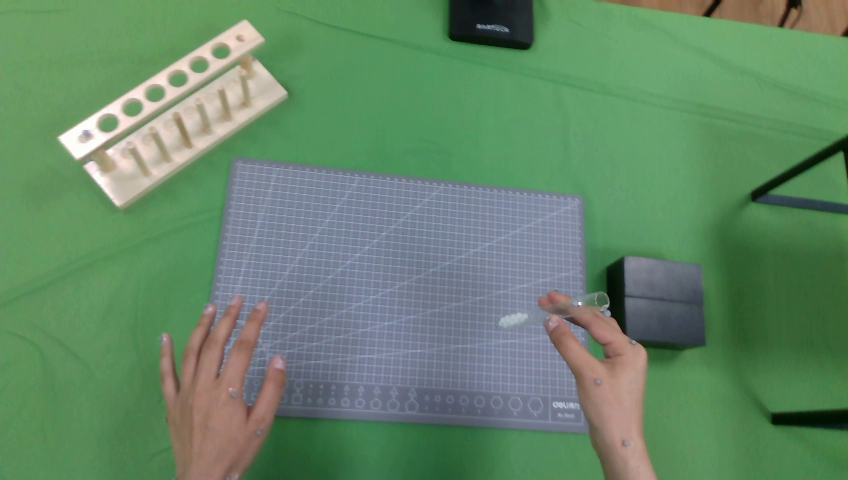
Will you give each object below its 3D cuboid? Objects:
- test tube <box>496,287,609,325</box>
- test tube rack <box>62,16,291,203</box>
[{"bbox_3d":[0.112,0.063,0.558,0.017,0.150,0.017,8,73,-26],"label":"test tube"},{"bbox_3d":[-0.274,-0.151,0.702,0.242,0.085,0.066,-40,83,-18],"label":"test tube rack"}]
